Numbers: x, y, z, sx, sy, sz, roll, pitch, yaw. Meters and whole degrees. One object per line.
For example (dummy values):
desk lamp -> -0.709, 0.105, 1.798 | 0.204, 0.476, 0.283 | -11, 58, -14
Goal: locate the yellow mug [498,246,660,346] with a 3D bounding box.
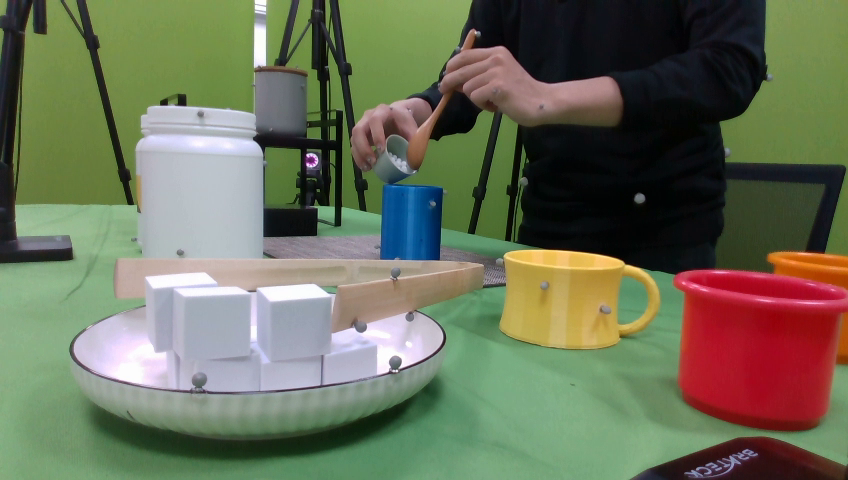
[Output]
yellow mug -> 0.130, 0.045, 0.508 | 0.131, 0.064, 0.100 | 4, 7, 6

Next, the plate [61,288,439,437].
plate -> -0.095, 0.069, 0.362 | 0.208, 0.039, 0.207 | 3, 7, 0

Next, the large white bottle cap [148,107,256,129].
large white bottle cap -> -0.250, -0.137, 0.686 | 0.115, 0.018, 0.115 | 3, 8, 0

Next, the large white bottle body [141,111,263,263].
large white bottle body -> -0.254, -0.053, 0.697 | 0.131, 0.184, 0.130 | 2, 7, 0

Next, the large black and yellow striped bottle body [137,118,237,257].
large black and yellow striped bottle body -> -0.330, -0.075, 0.849 | 0.131, 0.184, 0.130 | 2, 8, 0

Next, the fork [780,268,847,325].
fork -> 0.324, 0.018, 0.441 | 0.028, 0.018, 0.207 | -3, -36, -5

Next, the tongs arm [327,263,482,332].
tongs arm -> -0.003, 0.036, 0.493 | 0.050, 0.026, 0.386 | 1, 0, 19

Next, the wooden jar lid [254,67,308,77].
wooden jar lid -> -0.296, -0.339, 1.251 | 0.108, 0.020, 0.108 | 1, 7, 0

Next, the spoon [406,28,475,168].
spoon -> 0.021, -0.184, 0.790 | 0.022, 0.193, 0.041 | 21, 11, -37

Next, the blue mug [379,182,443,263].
blue mug -> -0.019, -0.026, 0.832 | 0.082, 0.106, 0.116 | 2, 7, -5

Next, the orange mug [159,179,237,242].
orange mug -> -0.368, -0.051, 0.991 | 0.127, 0.101, 0.083 | -10, 14, -41

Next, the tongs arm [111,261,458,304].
tongs arm -> -0.080, 0.032, 0.527 | 0.028, 0.027, 0.389 | -3, -3, 33

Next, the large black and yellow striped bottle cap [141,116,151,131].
large black and yellow striped bottle cap -> -0.328, -0.158, 0.837 | 0.115, 0.019, 0.115 | 2, 6, 0

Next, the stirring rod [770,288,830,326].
stirring rod -> 0.349, 0.022, 0.468 | 0.014, 0.006, 0.175 | -12, -26, -50

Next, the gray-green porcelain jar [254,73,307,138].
gray-green porcelain jar -> -0.298, -0.277, 1.259 | 0.106, 0.126, 0.106 | 3, 7, 0

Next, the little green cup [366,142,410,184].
little green cup -> -0.050, -0.104, 0.839 | 0.062, 0.038, 0.061 | 23, 25, -11
